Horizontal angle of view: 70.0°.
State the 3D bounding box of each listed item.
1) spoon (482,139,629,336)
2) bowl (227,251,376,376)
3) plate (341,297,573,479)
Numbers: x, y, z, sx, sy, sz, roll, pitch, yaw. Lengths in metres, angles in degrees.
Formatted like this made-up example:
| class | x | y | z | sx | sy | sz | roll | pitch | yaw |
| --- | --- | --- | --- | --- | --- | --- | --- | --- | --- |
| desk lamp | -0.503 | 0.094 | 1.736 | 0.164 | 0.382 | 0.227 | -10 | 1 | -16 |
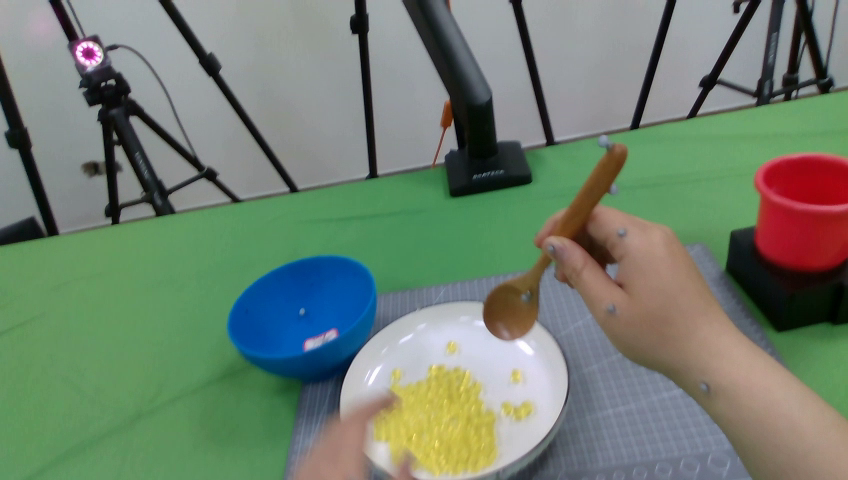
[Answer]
| class | x | y | z | sx | sy | sz | roll | pitch | yaw |
| --- | --- | --- | --- | --- | --- | --- | --- | --- | --- |
| spoon | 0.080 | 0.008 | 0.386 | 0.041 | 0.195 | 0.021 | 41 | 56 | 14 |
| bowl | -0.116 | 0.087 | 0.627 | 0.151 | 0.077 | 0.150 | -8 | 35 | 6 |
| plate | 0.030 | 0.133 | 0.553 | 0.207 | 0.039 | 0.205 | -8 | 35 | 6 |
